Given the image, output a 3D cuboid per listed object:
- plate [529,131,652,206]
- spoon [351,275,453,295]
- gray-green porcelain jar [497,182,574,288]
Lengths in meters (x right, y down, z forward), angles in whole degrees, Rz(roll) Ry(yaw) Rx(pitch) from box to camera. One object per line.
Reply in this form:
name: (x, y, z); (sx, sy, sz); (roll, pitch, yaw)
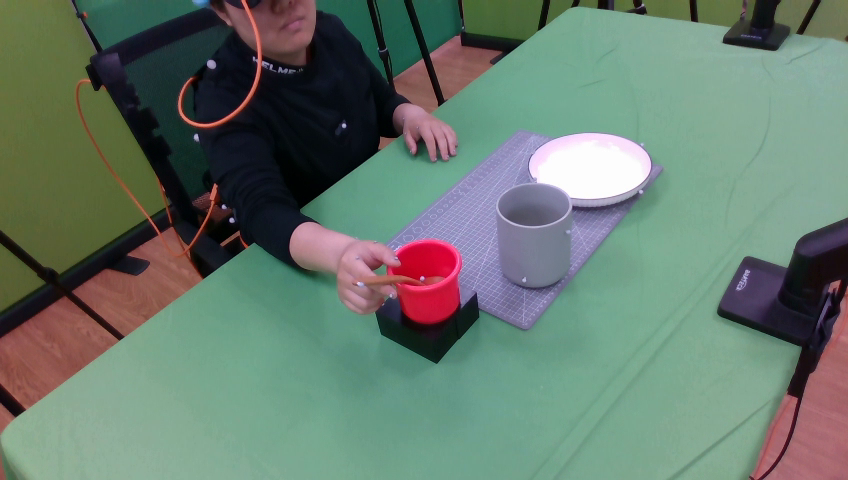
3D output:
plate: (0.287, -0.121, 1.055); (0.207, 0.039, 0.206); (-5, 40, 5)
spoon: (-0.024, 0.052, 0.751); (0.041, 0.021, 0.195); (32, 11, 33)
gray-green porcelain jar: (0.160, -0.003, 0.869); (0.106, 0.127, 0.105); (-5, 40, 5)
